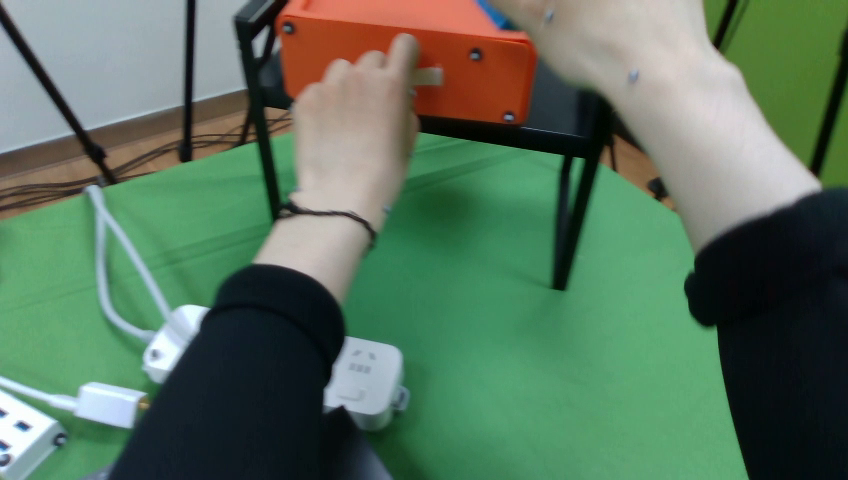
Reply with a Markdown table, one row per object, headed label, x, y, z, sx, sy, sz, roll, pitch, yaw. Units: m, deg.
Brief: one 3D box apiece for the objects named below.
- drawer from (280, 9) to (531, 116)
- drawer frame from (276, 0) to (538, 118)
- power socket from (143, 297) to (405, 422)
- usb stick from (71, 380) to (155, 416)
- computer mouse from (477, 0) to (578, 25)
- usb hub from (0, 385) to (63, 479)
| label | x | y | z | sx | sy | sz | roll | pitch | yaw |
| --- | --- | --- | --- | --- | --- | --- | --- | --- | --- |
| drawer | -0.004 | -0.204 | 0.551 | 0.194 | 0.074 | 0.210 | 7 | 43 | 3 |
| drawer frame | -0.004 | -0.207 | 0.553 | 0.201 | 0.083 | 0.211 | 6 | 43 | 2 |
| power socket | -0.128 | 0.100 | 0.519 | 0.226 | 0.033 | 0.071 | 10 | 44 | 7 |
| usb stick | -0.247 | 0.127 | 0.486 | 0.059 | 0.021 | 0.027 | 7 | 86 | -17 |
| computer mouse | 0.048 | -0.185 | 0.386 | 0.063 | 0.041 | 0.116 | -18 | 62 | -29 |
| usb hub | -0.350 | 0.135 | 0.471 | 0.124 | 0.025 | 0.049 | 20 | 46 | 16 |
